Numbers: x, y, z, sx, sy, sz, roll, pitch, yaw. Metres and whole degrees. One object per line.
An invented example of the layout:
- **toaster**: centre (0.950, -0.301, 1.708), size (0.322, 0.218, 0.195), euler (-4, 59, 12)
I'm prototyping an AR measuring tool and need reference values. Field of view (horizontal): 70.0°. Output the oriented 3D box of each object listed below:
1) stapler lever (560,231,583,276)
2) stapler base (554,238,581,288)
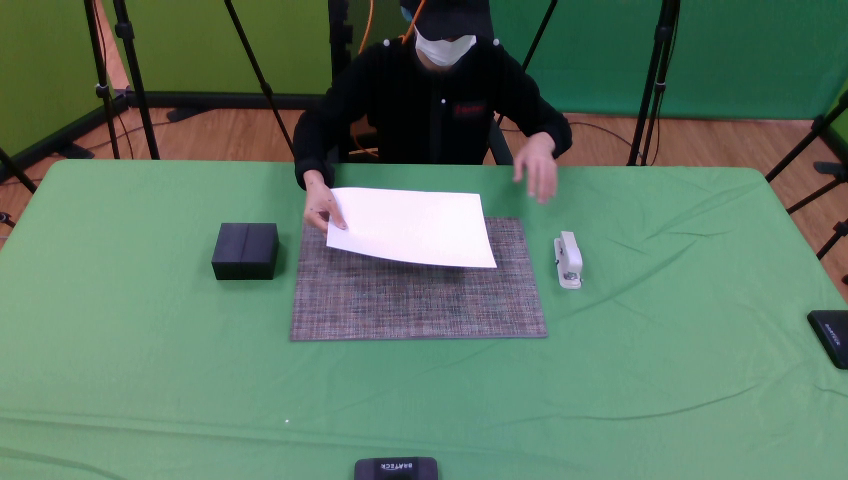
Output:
- **stapler lever**: centre (0.283, 0.018, 1.165), size (0.027, 0.040, 0.117), euler (5, 44, -2)
- **stapler base**: centre (0.282, 0.038, 1.181), size (0.041, 0.024, 0.130), euler (5, 44, -2)
